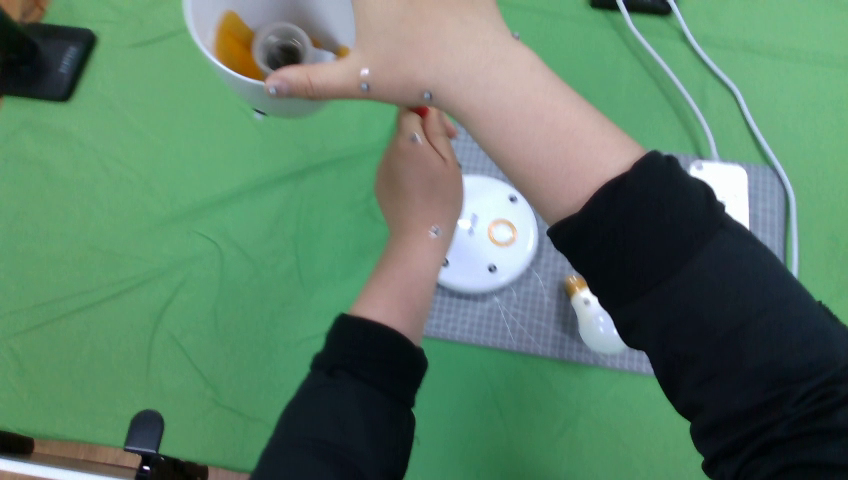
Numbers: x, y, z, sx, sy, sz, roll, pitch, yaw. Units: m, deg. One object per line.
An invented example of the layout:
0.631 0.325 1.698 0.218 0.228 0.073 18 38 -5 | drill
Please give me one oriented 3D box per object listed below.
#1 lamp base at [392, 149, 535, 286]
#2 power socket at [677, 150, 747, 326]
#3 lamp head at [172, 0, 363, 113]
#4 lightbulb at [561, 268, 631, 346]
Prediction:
0.041 -0.046 0.685 0.179 0.181 0.159 2 71 6 | lamp base
0.350 -0.009 0.740 0.072 0.033 0.225 7 71 3 | power socket
-0.098 -0.138 0.420 0.112 0.123 0.112 1 79 -3 | lamp head
0.196 0.075 0.708 0.059 0.060 0.106 -27 56 -7 | lightbulb
